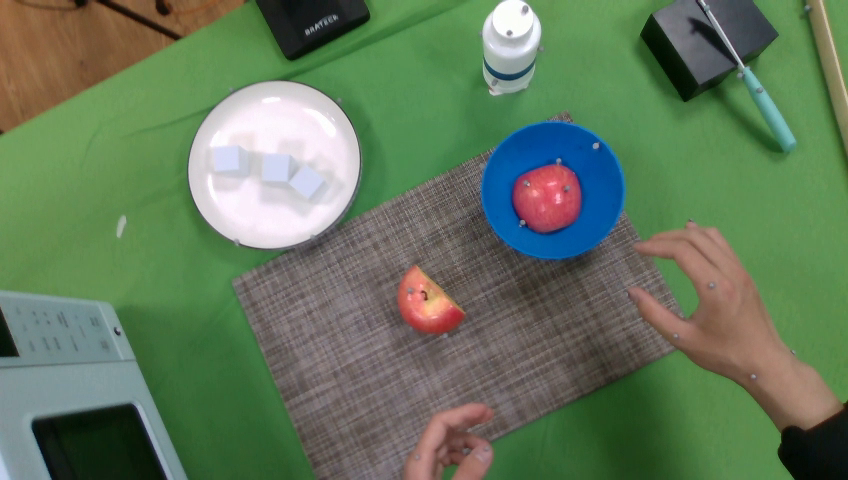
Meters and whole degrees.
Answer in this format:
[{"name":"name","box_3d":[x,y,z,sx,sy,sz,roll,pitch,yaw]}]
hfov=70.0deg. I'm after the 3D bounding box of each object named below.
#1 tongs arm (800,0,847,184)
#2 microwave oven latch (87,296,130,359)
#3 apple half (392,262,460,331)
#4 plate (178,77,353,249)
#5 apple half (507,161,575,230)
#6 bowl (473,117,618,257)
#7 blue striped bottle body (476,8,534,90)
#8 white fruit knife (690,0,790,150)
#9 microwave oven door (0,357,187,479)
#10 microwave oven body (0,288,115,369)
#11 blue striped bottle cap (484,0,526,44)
[{"name":"tongs arm","box_3d":[0.475,-0.157,0.687,0.028,0.028,0.386,-10,82,1]},{"name":"microwave oven latch","box_3d":[-0.370,0.104,0.694,0.030,0.029,0.079,-29,82,-1]},{"name":"apple half","box_3d":[-0.004,0.069,0.667,0.080,0.075,0.053,43,93,5]},{"name":"plate","box_3d":[-0.185,-0.090,0.725,0.207,0.039,0.207,-1,82,4]},{"name":"apple half","box_3d":[0.132,-0.051,0.665,0.081,0.033,0.081,-1,81,5]},{"name":"bowl","box_3d":[0.130,-0.051,0.670,0.151,0.077,0.151,-1,82,5]},{"name":"blue striped bottle body","box_3d":[0.089,-0.220,0.678,0.063,0.121,0.063,-1,81,5]},{"name":"white fruit knife","box_3d":[0.348,-0.186,0.671,0.016,0.027,0.208,-35,98,17]},{"name":"microwave oven door","box_3d":[-0.278,0.278,0.559,0.039,0.244,0.354,-29,81,0]},{"name":"microwave oven body","box_3d":[-0.426,0.313,0.571,0.326,0.261,0.440,-28,81,-1]},{"name":"blue striped bottle cap","box_3d":[0.084,-0.228,0.628,0.044,0.021,0.044,0,81,3]}]
